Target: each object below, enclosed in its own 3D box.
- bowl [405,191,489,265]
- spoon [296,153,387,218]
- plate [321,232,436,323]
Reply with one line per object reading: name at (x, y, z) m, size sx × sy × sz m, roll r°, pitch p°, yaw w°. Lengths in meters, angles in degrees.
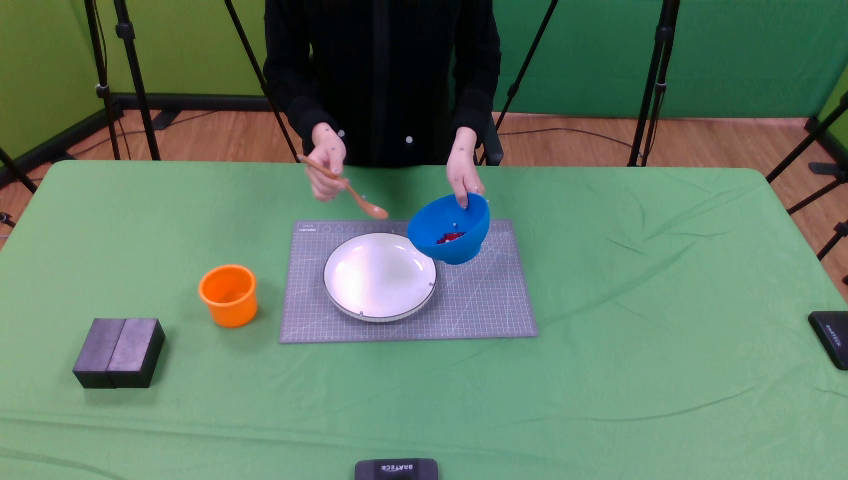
bowl at (0.051, -0.010, 1.055) m, size 0.151 × 0.077 × 0.150 m, roll -18°, pitch 33°, yaw 12°
spoon at (-0.132, -0.089, 0.994) m, size 0.021 × 0.195 × 0.041 m, roll -41°, pitch 37°, yaw 13°
plate at (-0.083, 0.070, 1.109) m, size 0.209 × 0.038 × 0.208 m, roll 3°, pitch 46°, yaw -3°
